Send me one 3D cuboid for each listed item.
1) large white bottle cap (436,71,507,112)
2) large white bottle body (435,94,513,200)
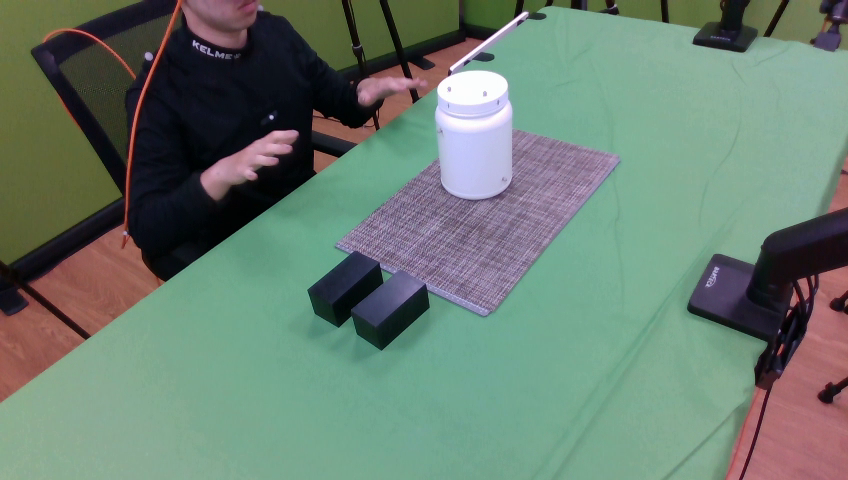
[{"bbox_3d":[0.077,-0.241,0.976,0.115,0.018,0.114,-4,41,4],"label":"large white bottle cap"},{"bbox_3d":[0.086,-0.176,1.030,0.130,0.185,0.130,-4,41,4],"label":"large white bottle body"}]
